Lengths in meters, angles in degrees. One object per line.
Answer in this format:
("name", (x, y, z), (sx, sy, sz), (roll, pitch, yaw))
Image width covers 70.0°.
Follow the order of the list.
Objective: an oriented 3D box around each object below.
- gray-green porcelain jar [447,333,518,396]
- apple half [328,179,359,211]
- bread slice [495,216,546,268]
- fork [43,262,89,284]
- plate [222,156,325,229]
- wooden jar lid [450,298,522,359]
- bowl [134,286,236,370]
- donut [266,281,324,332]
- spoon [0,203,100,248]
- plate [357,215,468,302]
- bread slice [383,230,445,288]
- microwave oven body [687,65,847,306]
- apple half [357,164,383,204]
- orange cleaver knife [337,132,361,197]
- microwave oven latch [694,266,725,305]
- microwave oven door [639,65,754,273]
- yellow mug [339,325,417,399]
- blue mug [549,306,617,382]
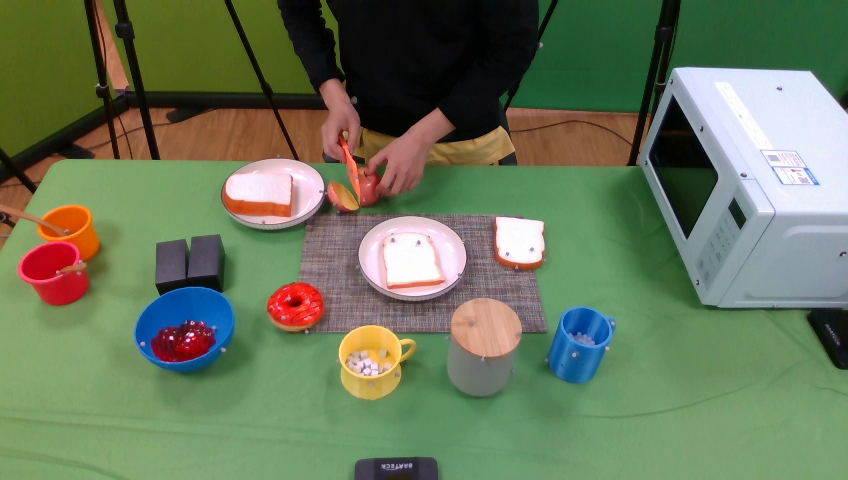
("gray-green porcelain jar", (0.091, 0.178, 0.960), (0.106, 0.127, 0.105), (2, 46, -2))
("apple half", (-0.171, -0.084, 1.247), (0.033, 0.082, 0.080), (-35, 47, 17))
("bread slice", (0.194, 0.002, 1.204), (0.105, 0.019, 0.131), (6, 45, 2))
("fork", (-0.599, 0.053, 1.013), (0.207, 0.019, 0.028), (-14, 30, 45))
("plate", (-0.307, -0.094, 1.251), (0.209, 0.038, 0.208), (2, 46, -2))
("wooden jar lid", (0.093, 0.135, 0.914), (0.108, 0.021, 0.107), (3, 48, -3))
("bowl", (-0.377, 0.155, 0.981), (0.151, 0.077, 0.150), (2, 46, -2))
("donut", (-0.222, 0.115, 1.049), (0.099, 0.048, 0.098), (2, 46, -2))
("spoon", (-0.683, -0.031, 1.088), (0.195, 0.021, 0.041), (33, 33, -38))
("plate", (-0.022, 0.037, 1.141), (0.208, 0.039, 0.206), (2, 46, -2))
("bread slice", (-0.028, 0.035, 1.144), (0.107, 0.018, 0.133), (-7, 47, -12))
("microwave oven body", (0.669, -0.111, 1.176), (0.326, 0.261, 0.439), (0, 46, -3))
("apple half", (-0.112, -0.115, 1.261), (0.053, 0.075, 0.080), (-4, 44, -11))
("orange cleaver knife", (-0.149, -0.154, 1.203), (0.012, 0.077, 0.210), (-11, 32, -11))
("microwave oven latch", (0.523, 0.082, 1.115), (0.030, 0.029, 0.078), (3, 46, 0))
("microwave oven door", (0.522, -0.147, 1.193), (0.039, 0.245, 0.353), (0, 47, -3))
("yellow mug", (-0.072, 0.190, 0.978), (0.131, 0.064, 0.099), (-17, 50, -20))
("blue mug", (0.269, 0.166, 0.998), (0.116, 0.106, 0.082), (-19, 51, -21))
